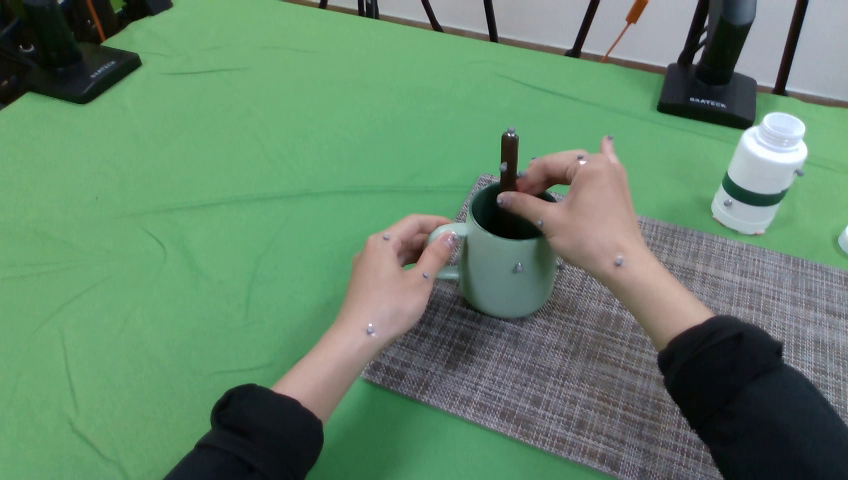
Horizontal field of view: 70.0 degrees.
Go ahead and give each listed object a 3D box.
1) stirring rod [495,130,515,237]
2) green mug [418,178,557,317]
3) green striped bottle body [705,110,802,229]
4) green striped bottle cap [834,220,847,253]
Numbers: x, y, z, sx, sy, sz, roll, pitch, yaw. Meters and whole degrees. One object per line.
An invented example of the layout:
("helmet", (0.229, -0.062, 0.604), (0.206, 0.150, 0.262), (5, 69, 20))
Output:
("stirring rod", (0.070, -0.032, 0.530), (0.014, 0.178, 0.006), (15, 58, 16))
("green mug", (0.057, 0.010, 0.549), (0.125, 0.106, 0.091), (-6, 47, -5))
("green striped bottle body", (0.340, -0.073, 0.623), (0.063, 0.120, 0.062), (0, 46, 0))
("green striped bottle cap", (0.452, -0.001, 0.626), (0.044, 0.020, 0.044), (1, 42, 0))
